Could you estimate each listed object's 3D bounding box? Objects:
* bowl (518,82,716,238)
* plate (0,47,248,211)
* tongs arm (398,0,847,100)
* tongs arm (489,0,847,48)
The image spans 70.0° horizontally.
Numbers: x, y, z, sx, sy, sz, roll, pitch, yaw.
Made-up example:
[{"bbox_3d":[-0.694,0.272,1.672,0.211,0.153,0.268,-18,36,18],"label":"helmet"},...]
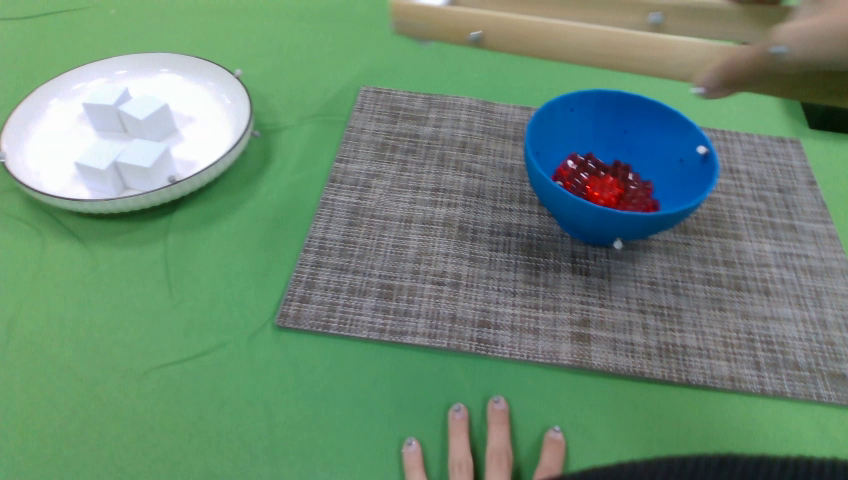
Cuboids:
[{"bbox_3d":[0.147,-0.054,0.500,0.151,0.077,0.150,2,50,-2],"label":"bowl"},{"bbox_3d":[-0.263,-0.100,0.543,0.209,0.038,0.207,2,50,-2],"label":"plate"},{"bbox_3d":[0.149,-0.107,0.332,0.385,0.028,0.028,18,46,26],"label":"tongs arm"},{"bbox_3d":[0.161,-0.122,0.345,0.382,0.027,0.050,14,48,23],"label":"tongs arm"}]
